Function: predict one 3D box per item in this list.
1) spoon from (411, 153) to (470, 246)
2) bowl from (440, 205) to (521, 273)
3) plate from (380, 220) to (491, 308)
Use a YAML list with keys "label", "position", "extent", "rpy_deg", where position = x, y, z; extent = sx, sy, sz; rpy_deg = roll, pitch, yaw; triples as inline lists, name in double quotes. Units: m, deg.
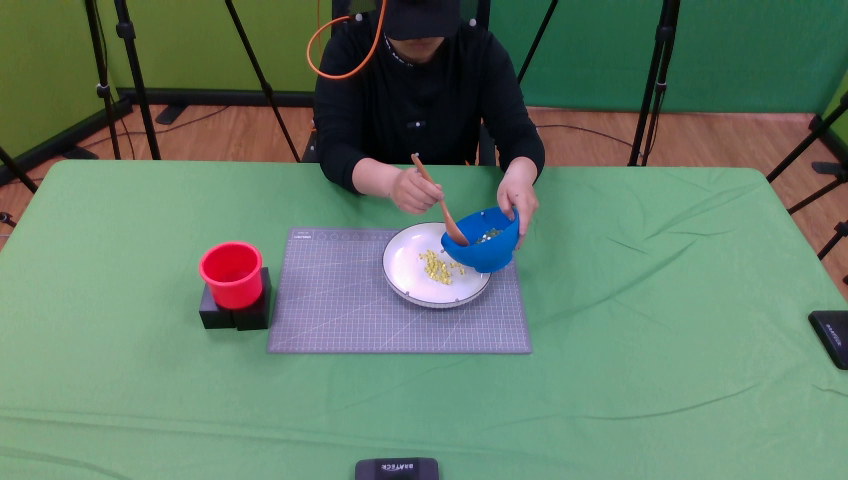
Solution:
- label: "spoon"
  position: [0.027, -0.068, 1.049]
  extent: [0.021, 0.194, 0.041]
  rpy_deg: [-36, 17, -27]
- label: "bowl"
  position: [0.112, 0.007, 1.086]
  extent: [0.151, 0.077, 0.150]
  rpy_deg: [-22, 21, 9]
- label: "plate"
  position: [0.022, 0.048, 1.138]
  extent: [0.208, 0.039, 0.206]
  rpy_deg: [2, 46, -2]
